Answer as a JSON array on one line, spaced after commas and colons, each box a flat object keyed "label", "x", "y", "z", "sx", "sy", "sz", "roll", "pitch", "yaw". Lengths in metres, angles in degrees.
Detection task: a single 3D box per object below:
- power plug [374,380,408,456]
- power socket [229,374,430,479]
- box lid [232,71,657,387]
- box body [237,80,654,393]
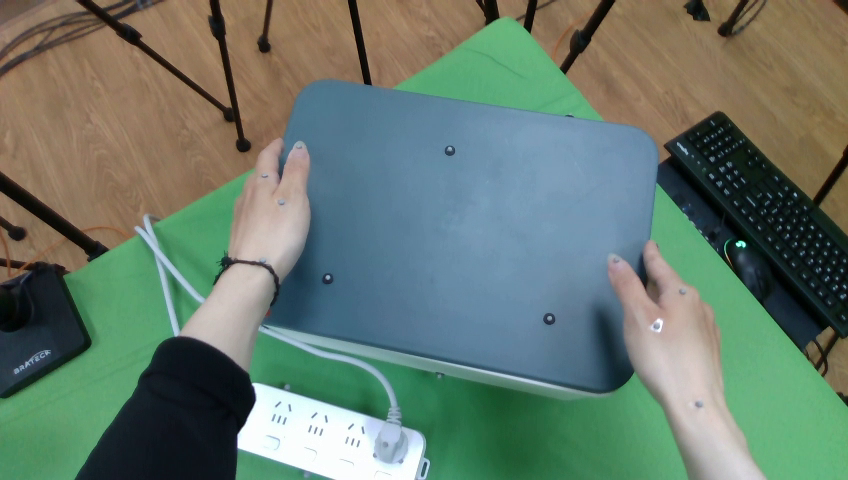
[{"label": "power plug", "x": -0.027, "y": 0.191, "z": 0.635, "sx": 0.035, "sy": 0.053, "sz": 0.072, "roll": 24, "pitch": 70, "yaw": 12}, {"label": "power socket", "x": -0.105, "y": 0.207, "z": 0.659, "sx": 0.226, "sy": 0.033, "sz": 0.072, "roll": 15, "pitch": 73, "yaw": 8}, {"label": "box lid", "x": 0.026, "y": -0.023, "z": 0.572, "sx": 0.371, "sy": 0.015, "sz": 0.262, "roll": 10, "pitch": 73, "yaw": 6}, {"label": "box body", "x": 0.028, "y": 0.006, "z": 0.647, "sx": 0.363, "sy": 0.161, "sz": 0.253, "roll": 11, "pitch": 73, "yaw": 7}]
